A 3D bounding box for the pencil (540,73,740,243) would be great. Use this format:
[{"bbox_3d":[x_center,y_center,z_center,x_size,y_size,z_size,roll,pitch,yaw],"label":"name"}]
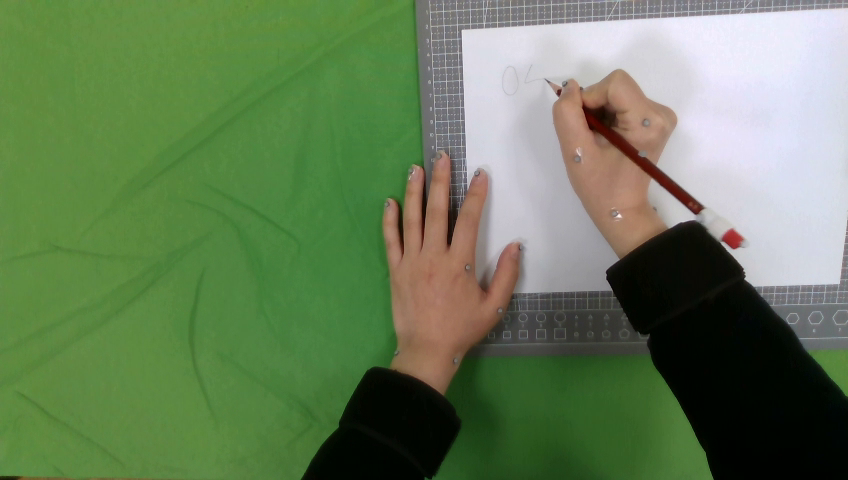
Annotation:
[{"bbox_3d":[0.133,-0.064,0.404,0.012,0.192,0.012,-22,142,-18],"label":"pencil"}]
